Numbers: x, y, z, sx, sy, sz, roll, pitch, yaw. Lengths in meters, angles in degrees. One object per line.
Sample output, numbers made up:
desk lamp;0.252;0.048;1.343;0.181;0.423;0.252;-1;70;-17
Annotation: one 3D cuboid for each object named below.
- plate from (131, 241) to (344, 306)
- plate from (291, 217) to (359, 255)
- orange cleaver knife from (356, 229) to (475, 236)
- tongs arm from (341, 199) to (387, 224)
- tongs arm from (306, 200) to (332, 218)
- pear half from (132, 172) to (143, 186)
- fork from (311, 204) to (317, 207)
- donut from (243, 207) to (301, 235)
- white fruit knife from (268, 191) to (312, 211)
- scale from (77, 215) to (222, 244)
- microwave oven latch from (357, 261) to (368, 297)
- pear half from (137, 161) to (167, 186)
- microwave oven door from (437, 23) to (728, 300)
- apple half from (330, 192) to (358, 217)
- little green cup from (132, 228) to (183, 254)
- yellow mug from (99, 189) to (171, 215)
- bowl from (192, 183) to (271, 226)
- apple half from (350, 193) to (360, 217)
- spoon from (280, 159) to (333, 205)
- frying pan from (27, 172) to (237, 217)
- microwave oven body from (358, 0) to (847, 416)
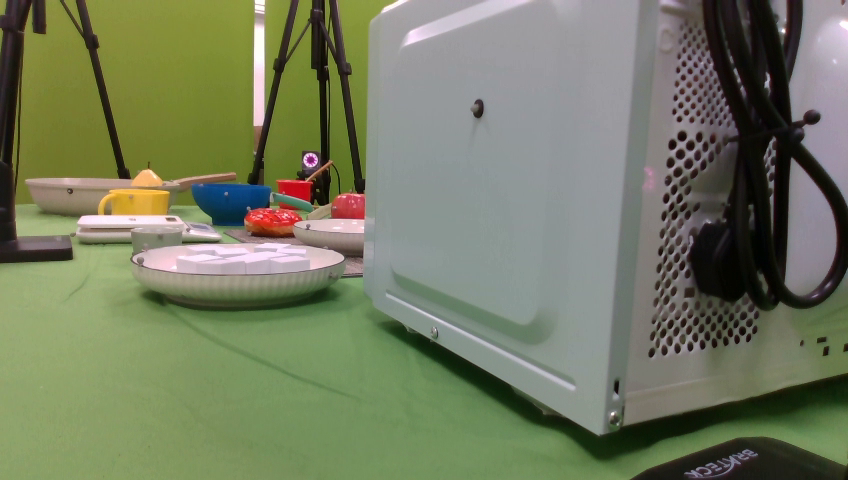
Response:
plate;-0.187;0.033;0.625;0.208;0.039;0.207;2;8;0
plate;-0.098;-0.007;0.928;0.209;0.038;0.209;2;8;0
orange cleaver knife;-0.017;-0.014;1.081;0.211;0.012;0.077;0;3;-3
tongs arm;-0.148;-0.070;1.429;0.051;0.026;0.383;-2;8;-14
tongs arm;-0.233;-0.071;1.414;0.028;0.028;0.387;-4;7;1
pear half;-0.638;-0.113;1.361;0.031;0.088;0.070;5;11;4
fork;-0.356;-0.105;1.526;0.208;0.018;0.028;16;-6;-41
donut;-0.261;-0.032;1.043;0.099;0.048;0.099;4;9;0
white fruit knife;-0.364;-0.105;1.464;0.208;0.027;0.016;15;0;-34
scale;-0.434;-0.019;0.963;0.202;0.031;0.148;-1;9;-27
microwave oven latch;-0.019;0.033;0.531;0.079;0.029;0.030;-1;7;-27
pear half;-0.602;-0.120;1.354;0.056;0.110;0.076;4;11;6
microwave oven door;0.180;-0.072;0.621;0.358;0.243;0.039;-2;9;-29
apple half;-0.149;-0.055;1.142;0.053;0.074;0.081;1;10;14
little green cup;-0.342;0.006;0.779;0.061;0.038;0.061;2;8;0
yellow mug;-0.519;-0.055;1.080;0.099;0.064;0.131;7;9;26
bowl;-0.382;-0.071;1.202;0.151;0.077;0.151;3;7;0
apple half;-0.112;-0.053;1.133;0.033;0.081;0.081;1;7;14
spoon;-0.317;-0.159;1.640;0.194;0.022;0.041;-49;32;-20
frying pan;-0.624;-0.118;1.387;0.305;0.102;0.490;8;17;32
microwave oven body;0.211;-0.047;0.474;0.444;0.260;0.324;-1;7;-28
